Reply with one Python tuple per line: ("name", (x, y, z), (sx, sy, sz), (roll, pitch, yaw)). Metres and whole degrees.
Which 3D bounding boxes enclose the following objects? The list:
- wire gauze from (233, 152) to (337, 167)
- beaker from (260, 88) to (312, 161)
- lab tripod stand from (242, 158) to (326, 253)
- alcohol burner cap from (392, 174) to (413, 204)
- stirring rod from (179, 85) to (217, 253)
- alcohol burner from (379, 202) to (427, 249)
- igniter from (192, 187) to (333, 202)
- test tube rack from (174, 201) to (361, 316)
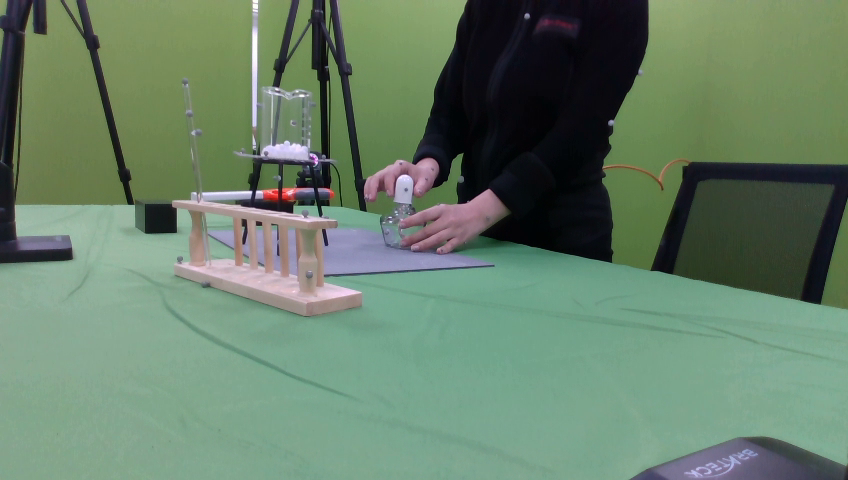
("wire gauze", (-0.205, -0.119, 0.887), (0.122, 0.011, 0.124), (2, 4, -32))
("beaker", (-0.201, -0.166, 0.876), (0.074, 0.100, 0.083), (1, 7, -18))
("lab tripod stand", (-0.207, -0.054, 0.895), (0.148, 0.131, 0.148), (3, 5, 0))
("alcohol burner cap", (-0.033, -0.082, 0.969), (0.034, 0.048, 0.034), (5, 9, 0))
("stirring rod", (-0.236, -0.073, 0.634), (0.006, 0.176, 0.014), (0, 10, 42))
("alcohol burner", (-0.034, -0.046, 0.974), (0.078, 0.119, 0.078), (1, 6, 0))
("igniter", (-0.316, -0.090, 1.214), (0.278, 0.025, 0.057), (-5, 12, -31))
("test tube rack", (-0.169, 0.010, 0.622), (0.241, 0.085, 0.067), (9, 9, 41))
